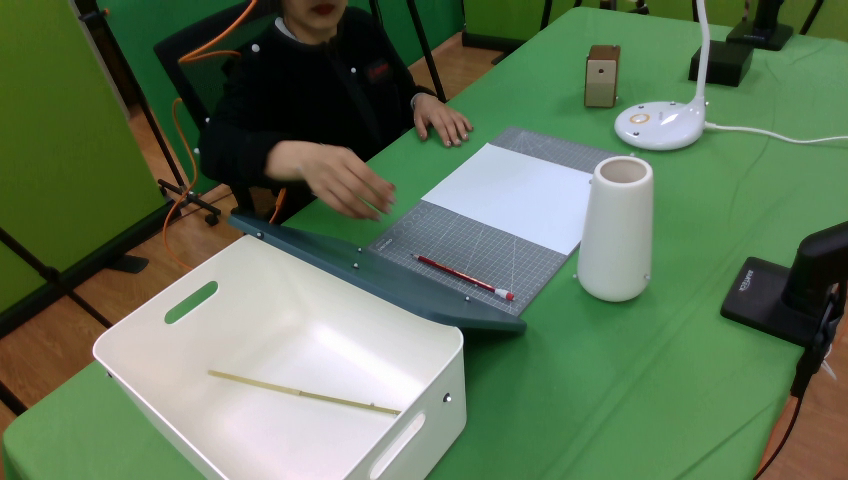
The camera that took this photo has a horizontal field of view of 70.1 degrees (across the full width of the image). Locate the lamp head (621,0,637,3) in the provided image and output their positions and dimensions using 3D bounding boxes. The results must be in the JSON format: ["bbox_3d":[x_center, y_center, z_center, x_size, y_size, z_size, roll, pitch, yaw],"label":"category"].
[{"bbox_3d":[0.319,-0.453,0.962,0.113,0.123,0.112,20,33,-13],"label":"lamp head"}]

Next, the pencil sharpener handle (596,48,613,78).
[{"bbox_3d":[0.383,-0.378,1.276,0.036,0.068,0.030,2,41,22],"label":"pencil sharpener handle"}]

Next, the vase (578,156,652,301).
[{"bbox_3d":[0.261,-0.011,0.812,0.098,0.201,0.097,-4,40,4],"label":"vase"}]

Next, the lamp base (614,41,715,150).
[{"bbox_3d":[0.449,-0.277,1.106,0.179,0.181,0.160,1,41,9],"label":"lamp base"}]

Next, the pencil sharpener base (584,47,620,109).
[{"bbox_3d":[0.367,-0.336,1.248,0.061,0.107,0.076,6,42,19],"label":"pencil sharpener base"}]

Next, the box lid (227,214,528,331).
[{"bbox_3d":[-0.062,0.044,0.813,0.368,0.265,0.015,22,93,32],"label":"box lid"}]

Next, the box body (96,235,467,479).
[{"bbox_3d":[-0.155,0.169,0.707,0.361,0.161,0.255,23,49,33],"label":"box body"}]

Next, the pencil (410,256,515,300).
[{"bbox_3d":[0.054,0.054,0.918,0.192,0.012,0.012,21,48,33],"label":"pencil"}]

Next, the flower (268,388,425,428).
[{"bbox_3d":[-0.122,0.202,0.770,0.360,0.038,0.044,2,77,22],"label":"flower"}]
